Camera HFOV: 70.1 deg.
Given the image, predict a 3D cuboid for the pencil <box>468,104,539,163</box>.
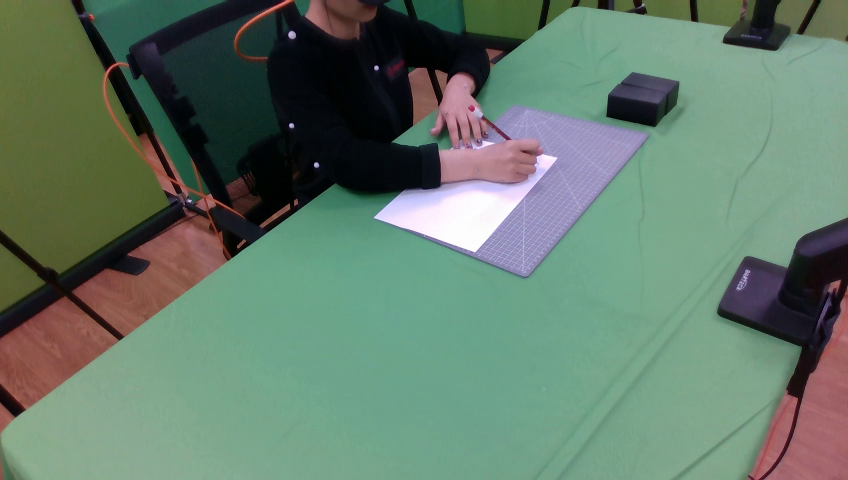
[{"bbox_3d":[0.143,-0.183,1.062,0.012,0.196,0.012,-29,45,35],"label":"pencil"}]
